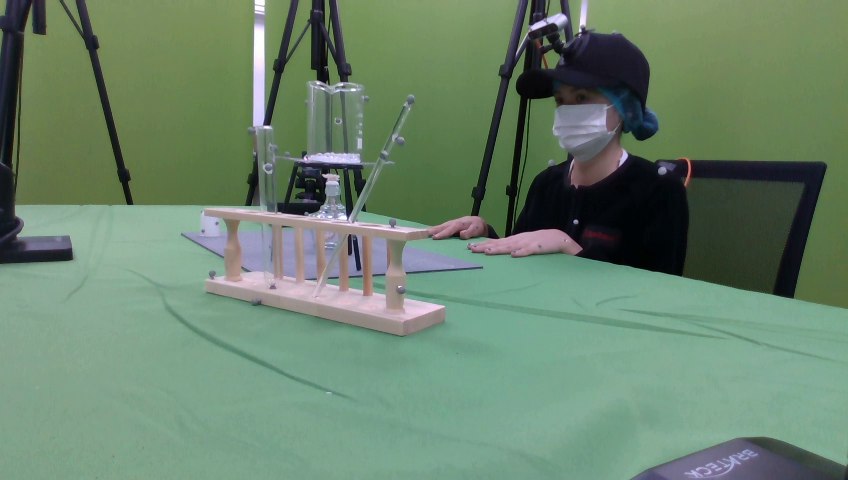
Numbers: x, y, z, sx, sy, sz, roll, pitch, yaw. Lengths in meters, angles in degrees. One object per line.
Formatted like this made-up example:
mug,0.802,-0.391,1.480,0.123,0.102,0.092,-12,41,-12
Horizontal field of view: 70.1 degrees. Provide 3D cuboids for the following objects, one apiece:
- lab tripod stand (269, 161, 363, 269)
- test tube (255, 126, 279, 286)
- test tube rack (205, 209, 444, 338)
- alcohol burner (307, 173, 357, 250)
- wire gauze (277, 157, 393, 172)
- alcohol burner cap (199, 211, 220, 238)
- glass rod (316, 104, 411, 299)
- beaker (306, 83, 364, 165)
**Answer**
lab tripod stand,-0.125,-0.036,0.794,0.148,0.131,0.148,5,7,0
test tube,-0.147,-0.031,0.566,0.017,0.150,0.017,-1,8,0
test tube rack,-0.100,0.021,0.565,0.241,0.085,0.067,7,9,32
alcohol burner,-0.144,-0.045,0.940,0.078,0.119,0.078,1,8,0
wire gauze,-0.122,-0.100,0.786,0.122,0.011,0.124,-5,14,-38
alcohol burner cap,-0.355,-0.027,1.002,0.034,0.048,0.034,2,7,0
glass rod,-0.054,-0.026,0.516,0.008,0.199,0.008,23,24,-11
beaker,-0.115,-0.147,0.775,0.074,0.100,0.084,2,8,-2
